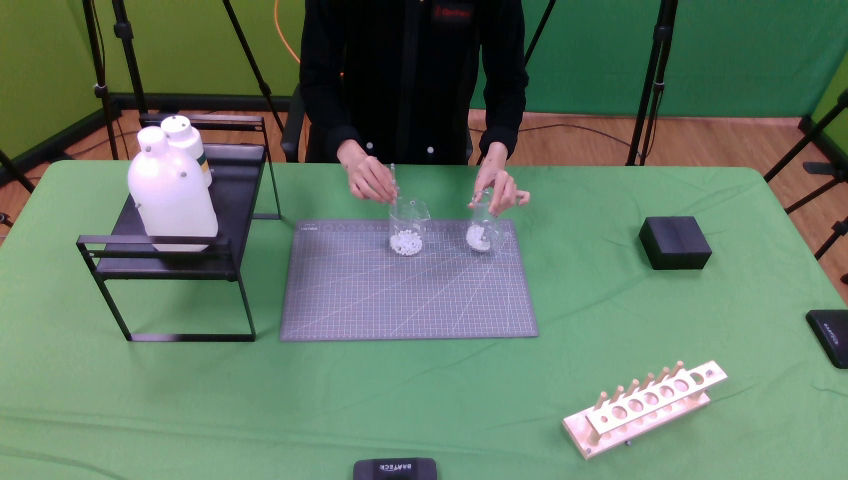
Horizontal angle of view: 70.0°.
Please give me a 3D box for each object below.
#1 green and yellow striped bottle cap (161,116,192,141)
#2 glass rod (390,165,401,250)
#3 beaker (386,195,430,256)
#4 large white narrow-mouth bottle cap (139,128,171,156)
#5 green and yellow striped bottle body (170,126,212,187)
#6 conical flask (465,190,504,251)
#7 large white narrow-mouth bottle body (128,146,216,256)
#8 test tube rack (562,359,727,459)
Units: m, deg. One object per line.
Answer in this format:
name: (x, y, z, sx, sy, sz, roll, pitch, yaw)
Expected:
green and yellow striped bottle cap: (-0.387, -0.174, 0.946, 0.045, 0.020, 0.045, 3, 44, -3)
glass rod: (-0.052, -0.055, 1.112, 0.008, 0.201, 0.008, -2, 43, 2)
beaker: (-0.031, -0.024, 1.161, 0.084, 0.101, 0.073, 18, 48, 12)
large white narrow-mouth bottle cap: (-0.358, -0.131, 0.808, 0.038, 0.024, 0.037, 3, 47, -3)
green and yellow striped bottle body: (-0.389, -0.139, 0.984, 0.063, 0.120, 0.063, 2, 46, -2)
conical flask: (0.112, -0.040, 1.148, 0.075, 0.122, 0.075, -4, 50, 5)
large white narrow-mouth bottle body: (-0.366, -0.073, 0.872, 0.102, 0.195, 0.101, 3, 47, -3)
test tube rack: (0.341, 0.247, 0.940, 0.243, 0.085, 0.066, -16, 49, -18)
